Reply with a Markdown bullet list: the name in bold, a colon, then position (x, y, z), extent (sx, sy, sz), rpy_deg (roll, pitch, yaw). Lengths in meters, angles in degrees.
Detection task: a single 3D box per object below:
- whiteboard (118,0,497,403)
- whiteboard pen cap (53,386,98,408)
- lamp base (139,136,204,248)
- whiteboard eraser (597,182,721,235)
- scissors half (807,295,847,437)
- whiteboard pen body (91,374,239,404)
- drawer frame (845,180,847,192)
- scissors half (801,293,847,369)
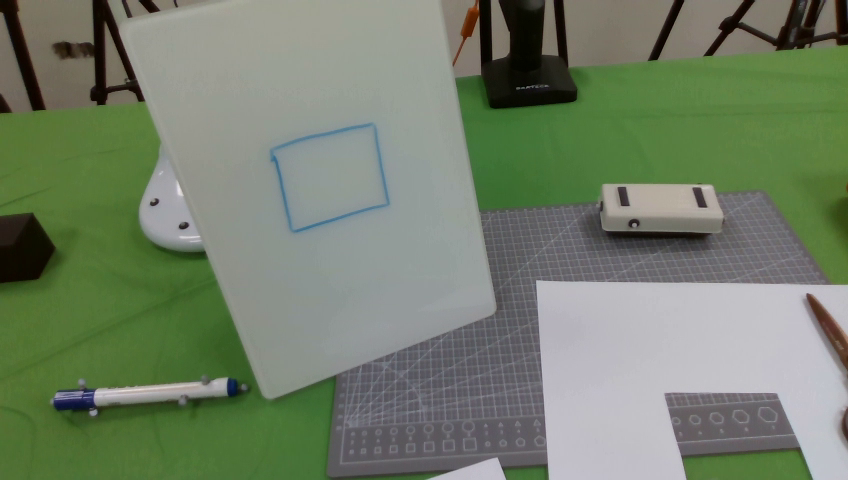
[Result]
- **whiteboard**: position (-0.084, -0.057, 0.524), extent (0.217, 0.308, 0.142), rpy_deg (-19, 25, -13)
- **whiteboard pen cap**: position (-0.286, 0.130, 0.502), extent (0.033, 0.018, 0.018), rpy_deg (-2, 42, -6)
- **lamp base**: position (-0.257, -0.108, 0.647), extent (0.177, 0.182, 0.160), rpy_deg (26, 51, 33)
- **whiteboard eraser**: position (0.235, -0.031, 0.613), extent (0.112, 0.042, 0.055), rpy_deg (1, 41, 7)
- **scissors half**: position (0.332, 0.103, 0.477), extent (0.040, 0.013, 0.174), rpy_deg (2, 39, 9)
- **whiteboard pen body**: position (-0.227, 0.126, 0.505), extent (0.141, 0.017, 0.017), rpy_deg (-4, 42, -4)
- **drawer frame**: position (0.537, -0.014, 0.538), extent (0.201, 0.083, 0.211), rpy_deg (-4, 42, 3)
- **scissors half**: position (0.352, 0.103, 0.476), extent (0.040, 0.013, 0.173), rpy_deg (-6, 40, -8)
